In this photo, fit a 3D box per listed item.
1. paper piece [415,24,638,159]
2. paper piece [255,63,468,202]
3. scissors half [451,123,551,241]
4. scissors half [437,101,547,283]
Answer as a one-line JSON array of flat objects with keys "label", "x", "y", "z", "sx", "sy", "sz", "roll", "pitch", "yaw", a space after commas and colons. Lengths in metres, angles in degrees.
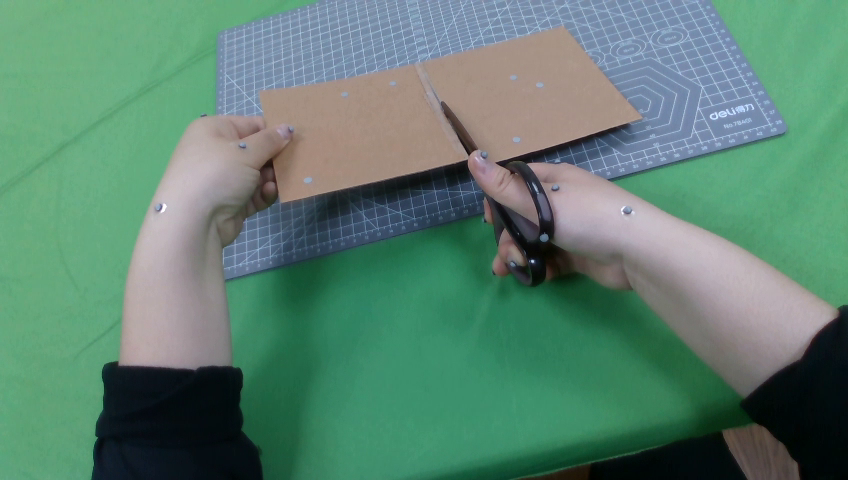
[{"label": "paper piece", "x": 0.077, "y": -0.123, "z": 0.482, "sx": 0.135, "sy": 0.004, "sz": 0.134, "roll": -16, "pitch": 54, "yaw": -9}, {"label": "paper piece", "x": -0.053, "y": -0.089, "z": 0.458, "sx": 0.138, "sy": 0.009, "sz": 0.134, "roll": -15, "pitch": 45, "yaw": -8}, {"label": "scissors half", "x": 0.040, "y": -0.055, "z": 0.411, "sx": 0.013, "sy": 0.040, "sz": 0.173, "roll": -16, "pitch": 36, "yaw": -13}, {"label": "scissors half", "x": 0.042, "y": -0.041, "z": 0.427, "sx": 0.013, "sy": 0.040, "sz": 0.173, "roll": -19, "pitch": 60, "yaw": -9}]
